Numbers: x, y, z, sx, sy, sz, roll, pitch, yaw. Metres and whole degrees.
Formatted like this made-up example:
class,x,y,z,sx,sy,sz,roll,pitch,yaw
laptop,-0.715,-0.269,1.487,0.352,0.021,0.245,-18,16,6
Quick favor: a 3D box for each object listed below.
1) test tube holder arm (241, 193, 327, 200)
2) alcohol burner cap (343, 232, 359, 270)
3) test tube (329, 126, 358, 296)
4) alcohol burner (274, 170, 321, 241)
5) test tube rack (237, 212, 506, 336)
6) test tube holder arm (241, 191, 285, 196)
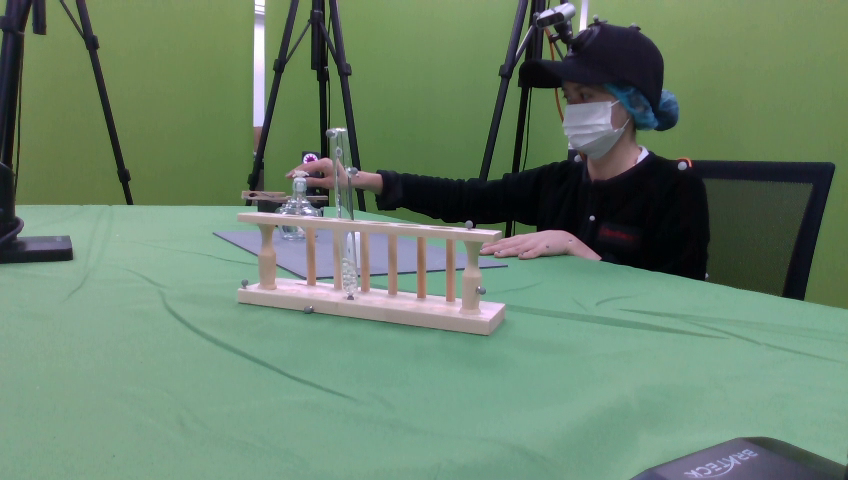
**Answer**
class,x,y,z,sx,sy,sz,roll,pitch,yaw
test tube holder arm,-0.289,-0.091,1.261,0.179,0.013,0.015,-3,7,-29
alcohol burner cap,-0.087,0.013,0.776,0.034,0.048,0.034,3,7,0
test tube,-0.071,-0.025,0.535,0.017,0.150,0.017,-3,8,1
alcohol burner,-0.212,-0.058,1.015,0.078,0.119,0.078,4,5,0
test tube rack,-0.049,0.024,0.552,0.242,0.085,0.067,5,7,19
test tube holder arm,-0.328,-0.095,1.238,0.088,0.010,0.015,-2,6,-29
